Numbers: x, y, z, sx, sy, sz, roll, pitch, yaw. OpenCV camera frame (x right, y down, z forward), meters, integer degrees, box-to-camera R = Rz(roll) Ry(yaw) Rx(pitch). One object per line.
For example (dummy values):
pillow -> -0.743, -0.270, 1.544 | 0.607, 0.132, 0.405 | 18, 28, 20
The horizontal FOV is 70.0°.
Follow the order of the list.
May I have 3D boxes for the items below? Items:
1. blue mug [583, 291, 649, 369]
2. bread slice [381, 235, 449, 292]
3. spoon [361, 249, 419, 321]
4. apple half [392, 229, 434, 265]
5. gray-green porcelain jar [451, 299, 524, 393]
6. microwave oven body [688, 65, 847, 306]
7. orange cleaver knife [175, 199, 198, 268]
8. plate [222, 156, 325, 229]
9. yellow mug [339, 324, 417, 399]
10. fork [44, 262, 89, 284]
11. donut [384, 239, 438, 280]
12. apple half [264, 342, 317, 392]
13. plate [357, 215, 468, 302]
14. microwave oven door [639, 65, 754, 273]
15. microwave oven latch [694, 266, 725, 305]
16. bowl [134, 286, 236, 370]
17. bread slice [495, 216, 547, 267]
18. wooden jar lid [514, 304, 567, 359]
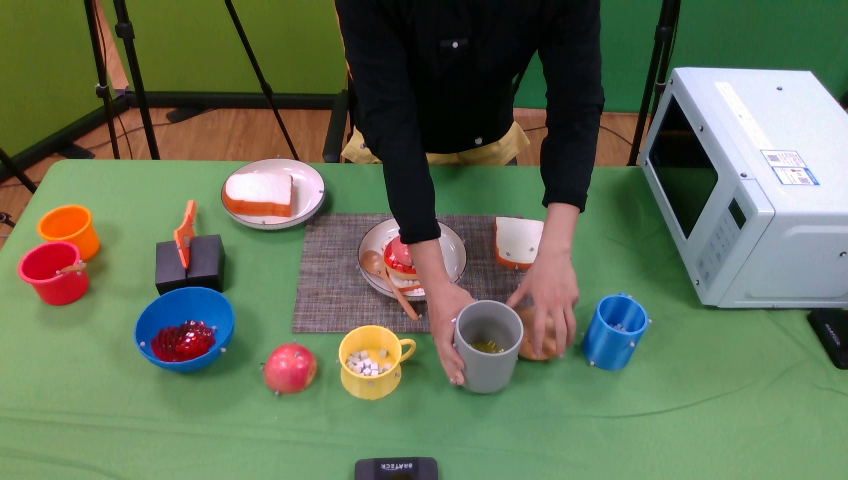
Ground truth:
blue mug -> 0.324, 0.142, 1.023 | 0.082, 0.106, 0.116 | 15, 47, 11
bread slice -> -0.026, 0.040, 1.141 | 0.107, 0.018, 0.133 | -12, 49, -16
spoon -> -0.061, 0.078, 1.077 | 0.041, 0.022, 0.192 | -22, 43, -19
apple half -> -0.021, 0.004, 1.084 | 0.081, 0.033, 0.081 | 6, 50, -7
gray-green porcelain jar -> 0.097, 0.174, 0.964 | 0.106, 0.127, 0.105 | 2, 47, -2
microwave oven body -> 0.669, -0.111, 1.176 | 0.326, 0.261, 0.439 | 0, 46, -3
orange cleaver knife -> -0.438, -0.017, 1.138 | 0.012, 0.077, 0.210 | -13, 27, -7
plate -> -0.308, -0.095, 1.251 | 0.209, 0.038, 0.208 | 2, 47, -2
yellow mug -> -0.072, 0.190, 0.978 | 0.131, 0.064, 0.099 | -17, 50, -20
fork -> -0.598, 0.054, 1.014 | 0.207, 0.019, 0.028 | -15, 29, 45
donut -> -0.025, 0.030, 1.109 | 0.099, 0.048, 0.098 | 2, 46, -2
apple half -> -0.214, 0.198, 0.970 | 0.074, 0.053, 0.080 | 19, 48, 10
plate -> -0.022, 0.037, 1.141 | 0.208, 0.039, 0.206 | 2, 46, -2
microwave oven door -> 0.522, -0.147, 1.193 | 0.039, 0.245, 0.353 | 0, 47, -3
microwave oven latch -> 0.523, 0.082, 1.115 | 0.030, 0.029, 0.078 | 3, 46, 0
bowl -> -0.377, 0.155, 0.981 | 0.151, 0.077, 0.150 | 2, 46, -2
bread slice -> 0.195, 0.002, 1.204 | 0.105, 0.019, 0.131 | 5, 45, 2
wooden jar lid -> 0.192, 0.161, 1.052 | 0.108, 0.021, 0.107 | 2, 50, -3
